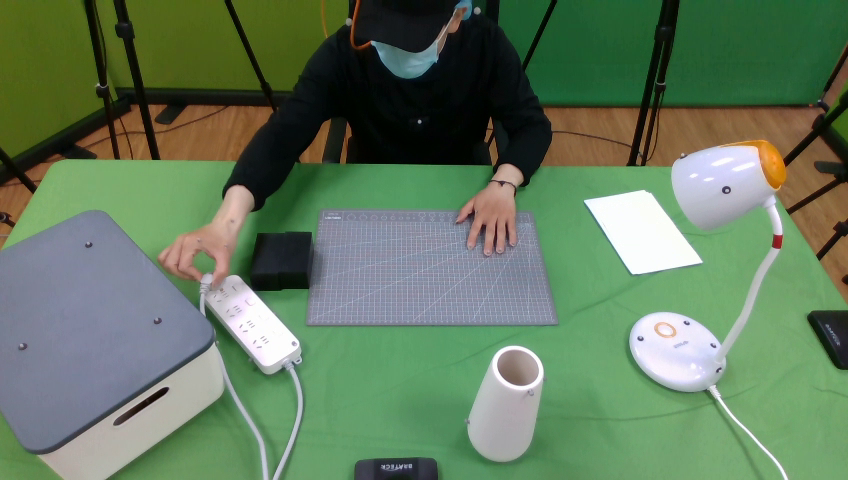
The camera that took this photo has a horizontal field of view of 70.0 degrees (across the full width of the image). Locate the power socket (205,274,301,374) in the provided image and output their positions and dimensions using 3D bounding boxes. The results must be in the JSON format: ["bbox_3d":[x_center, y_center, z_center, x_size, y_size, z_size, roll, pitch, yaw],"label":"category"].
[{"bbox_3d":[-0.296,0.140,1.035,0.072,0.033,0.225,-32,57,-29],"label":"power socket"}]

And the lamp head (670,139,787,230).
[{"bbox_3d":[0.415,-0.078,0.812,0.113,0.123,0.112,13,70,-37],"label":"lamp head"}]

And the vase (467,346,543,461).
[{"bbox_3d":[0.116,0.235,0.861,0.098,0.201,0.097,1,47,-1],"label":"vase"}]

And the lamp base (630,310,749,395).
[{"bbox_3d":[0.447,0.143,0.984,0.161,0.181,0.178,-24,55,-24],"label":"lamp base"}]

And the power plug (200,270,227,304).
[{"bbox_3d":[-0.360,0.084,1.021,0.035,0.053,0.072,11,59,19],"label":"power plug"}]

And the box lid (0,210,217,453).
[{"bbox_3d":[-0.502,0.102,0.865,0.369,0.015,0.263,36,54,27],"label":"box lid"}]

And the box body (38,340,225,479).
[{"bbox_3d":[-0.504,0.154,0.917,0.362,0.161,0.254,36,54,27],"label":"box body"}]
